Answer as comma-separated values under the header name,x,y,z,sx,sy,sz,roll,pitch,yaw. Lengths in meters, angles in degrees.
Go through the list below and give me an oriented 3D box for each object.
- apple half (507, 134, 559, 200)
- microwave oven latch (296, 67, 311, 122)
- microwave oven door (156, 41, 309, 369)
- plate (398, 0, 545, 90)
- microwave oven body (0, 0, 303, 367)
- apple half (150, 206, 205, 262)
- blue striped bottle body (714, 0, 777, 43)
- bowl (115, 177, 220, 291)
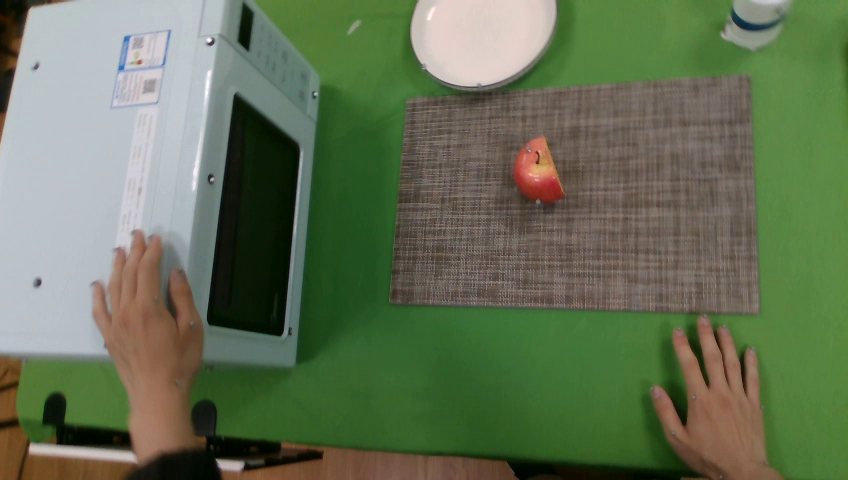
name,x,y,z,sx,sy,sz,roll,pitch,yaw
apple half,0.133,-0.086,0.763,0.053,0.075,0.080,-21,76,15
microwave oven latch,-0.184,-0.214,0.891,0.030,0.030,0.079,-2,77,16
microwave oven door,-0.221,-0.024,0.750,0.039,0.245,0.354,-3,77,17
plate,0.067,-0.304,0.857,0.207,0.039,0.206,-4,77,16
microwave oven body,-0.359,-0.058,0.804,0.325,0.262,0.439,-2,77,16
apple half,-0.337,-0.007,0.817,0.081,0.033,0.081,0,90,9
blue striped bottle body,0.384,-0.291,0.713,0.063,0.122,0.063,-4,76,16
bowl,-0.334,-0.005,0.826,0.151,0.077,0.151,-1,86,22
